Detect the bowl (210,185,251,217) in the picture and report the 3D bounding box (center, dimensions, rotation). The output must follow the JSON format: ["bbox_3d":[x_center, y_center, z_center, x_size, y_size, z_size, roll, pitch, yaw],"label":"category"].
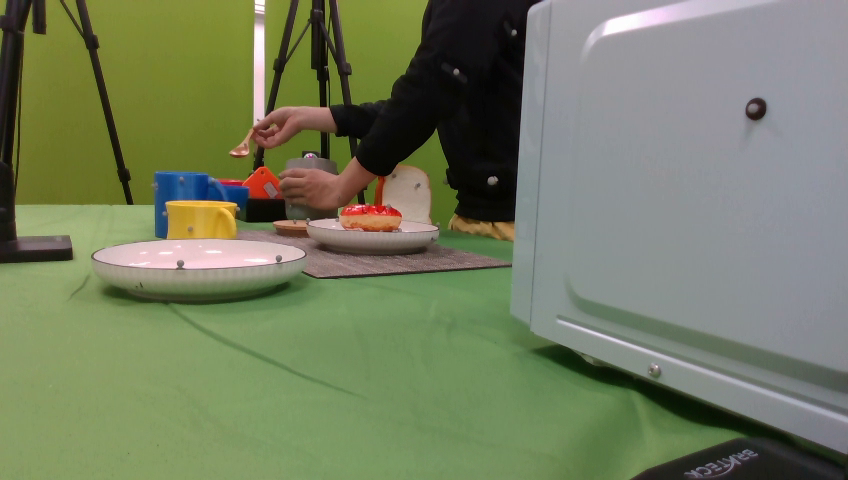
[{"bbox_3d":[-0.408,-0.064,1.155,0.151,0.077,0.151,2,8,0],"label":"bowl"}]

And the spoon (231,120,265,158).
[{"bbox_3d":[-0.408,-0.242,1.429,0.041,0.021,0.193,5,40,4],"label":"spoon"}]

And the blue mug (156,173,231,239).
[{"bbox_3d":[-0.381,-0.057,1.004,0.117,0.106,0.082,1,8,-12],"label":"blue mug"}]

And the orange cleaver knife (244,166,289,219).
[{"bbox_3d":[-0.300,-0.089,1.351,0.212,0.077,0.012,32,-11,-34],"label":"orange cleaver knife"}]

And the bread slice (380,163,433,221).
[{"bbox_3d":[-0.035,-0.076,1.125,0.107,0.134,0.018,-4,1,-26],"label":"bread slice"}]

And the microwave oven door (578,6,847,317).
[{"bbox_3d":[0.294,-0.067,0.570,0.358,0.243,0.039,-3,9,-31],"label":"microwave oven door"}]

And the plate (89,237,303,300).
[{"bbox_3d":[-0.233,0.029,0.637,0.208,0.039,0.207,2,7,0],"label":"plate"}]

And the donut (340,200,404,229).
[{"bbox_3d":[-0.081,-0.038,0.945,0.099,0.048,0.099,1,5,0],"label":"donut"}]

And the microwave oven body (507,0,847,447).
[{"bbox_3d":[0.331,-0.042,0.425,0.444,0.260,0.324,-2,8,-31],"label":"microwave oven body"}]

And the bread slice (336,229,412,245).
[{"bbox_3d":[-0.074,-0.006,0.938,0.105,0.019,0.131,-2,5,-18],"label":"bread slice"}]

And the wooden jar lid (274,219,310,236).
[{"bbox_3d":[-0.213,-0.023,1.081,0.108,0.020,0.108,3,7,0],"label":"wooden jar lid"}]

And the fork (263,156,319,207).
[{"bbox_3d":[-0.331,-0.144,1.506,0.207,0.018,0.028,-42,-17,22],"label":"fork"}]

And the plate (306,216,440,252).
[{"bbox_3d":[-0.079,-0.011,0.950,0.209,0.038,0.209,2,8,0],"label":"plate"}]

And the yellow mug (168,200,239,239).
[{"bbox_3d":[-0.320,-0.023,0.904,0.130,0.064,0.100,9,11,36],"label":"yellow mug"}]

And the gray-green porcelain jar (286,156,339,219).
[{"bbox_3d":[-0.227,-0.099,1.232,0.106,0.126,0.106,-2,-4,0],"label":"gray-green porcelain jar"}]

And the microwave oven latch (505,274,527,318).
[{"bbox_3d":[0.100,0.041,0.472,0.079,0.029,0.030,-2,8,-30],"label":"microwave oven latch"}]
